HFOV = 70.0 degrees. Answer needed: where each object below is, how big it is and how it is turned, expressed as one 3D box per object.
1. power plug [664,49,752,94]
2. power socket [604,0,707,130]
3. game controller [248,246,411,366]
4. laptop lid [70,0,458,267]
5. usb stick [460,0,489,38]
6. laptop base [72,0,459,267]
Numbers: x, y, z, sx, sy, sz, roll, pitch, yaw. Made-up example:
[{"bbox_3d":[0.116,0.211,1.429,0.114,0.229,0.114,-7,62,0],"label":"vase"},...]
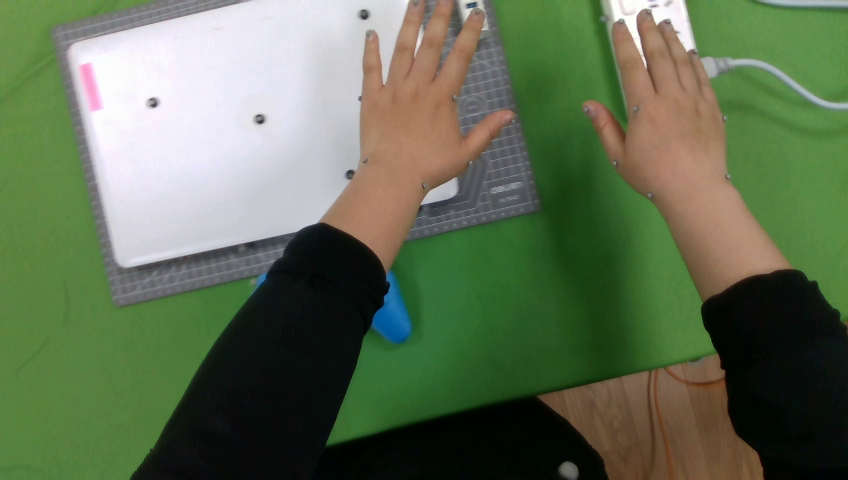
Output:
[{"bbox_3d":[0.267,-0.158,0.579,0.072,0.052,0.035,-1,88,-3],"label":"power plug"},{"bbox_3d":[0.222,-0.223,0.600,0.072,0.032,0.226,-12,89,2],"label":"power socket"},{"bbox_3d":[-0.097,0.065,0.599,0.155,0.051,0.097,-13,85,1],"label":"game controller"},{"bbox_3d":[-0.160,-0.121,0.604,0.357,0.013,0.241,-11,91,1],"label":"laptop lid"},{"bbox_3d":[0.049,-0.236,0.606,0.021,0.027,0.059,-14,87,5],"label":"usb stick"},{"bbox_3d":[-0.160,-0.123,0.615,0.354,0.023,0.235,-13,92,1],"label":"laptop base"}]
